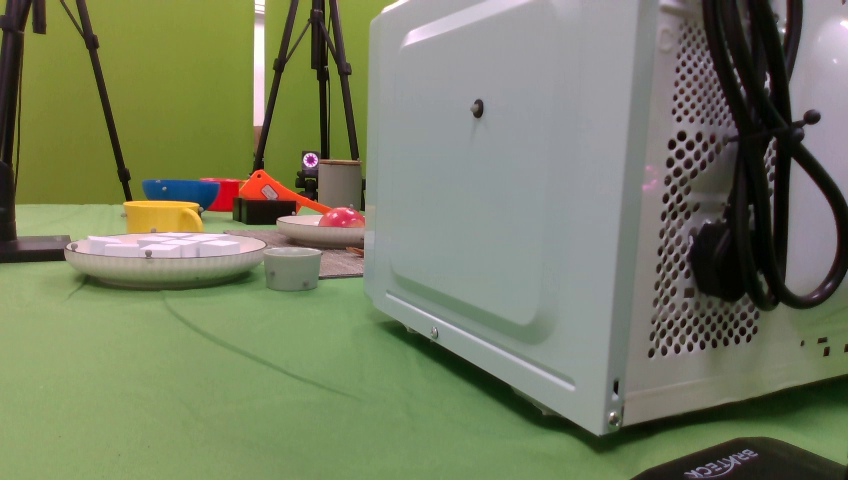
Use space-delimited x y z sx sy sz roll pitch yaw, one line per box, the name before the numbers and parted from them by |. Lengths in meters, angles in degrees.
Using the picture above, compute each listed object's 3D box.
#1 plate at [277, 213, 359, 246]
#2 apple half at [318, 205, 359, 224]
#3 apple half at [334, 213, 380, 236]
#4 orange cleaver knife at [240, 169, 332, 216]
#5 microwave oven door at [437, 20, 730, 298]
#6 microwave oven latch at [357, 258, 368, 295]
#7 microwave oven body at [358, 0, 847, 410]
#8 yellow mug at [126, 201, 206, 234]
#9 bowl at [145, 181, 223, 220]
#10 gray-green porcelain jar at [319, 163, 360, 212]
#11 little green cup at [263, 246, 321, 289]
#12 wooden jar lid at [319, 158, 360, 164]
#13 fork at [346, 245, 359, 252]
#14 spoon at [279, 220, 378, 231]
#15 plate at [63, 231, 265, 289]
plate | -0.135 -0.018 0.994 0.209 0.038 0.209 2 7 0
apple half | -0.126 -0.028 0.954 0.081 0.053 0.074 -2 11 -33
apple half | -0.112 -0.029 1.034 0.081 0.033 0.081 0 9 0
orange cleaver knife | -0.286 -0.082 1.298 0.212 0.077 0.012 25 -2 -31
microwave oven door | 0.181 -0.076 0.618 0.358 0.243 0.039 -2 9 -28
microwave oven latch | -0.019 0.031 0.529 0.079 0.029 0.030 -1 7 -26
microwave oven body | 0.210 -0.051 0.471 0.444 0.260 0.324 -1 7 -28
yellow mug | -0.360 -0.019 0.866 0.130 0.064 0.100 6 9 27
bowl | -0.499 -0.081 1.261 0.151 0.077 0.151 2 7 0
gray-green porcelain jar | -0.204 -0.126 1.490 0.106 0.126 0.106 2 7 0
little green cup | -0.142 0.029 0.649 0.061 0.038 0.061 3 7 0
wooden jar lid | -0.203 -0.189 1.482 0.108 0.020 0.108 2 10 0
fork | -0.026 0.006 0.901 0.208 0.018 0.028 -7 -2 -43
spoon | -0.173 -0.030 1.128 0.195 0.021 0.041 -3 -13 -30
plate | -0.288 0.021 0.687 0.208 0.039 0.207 2 8 0
